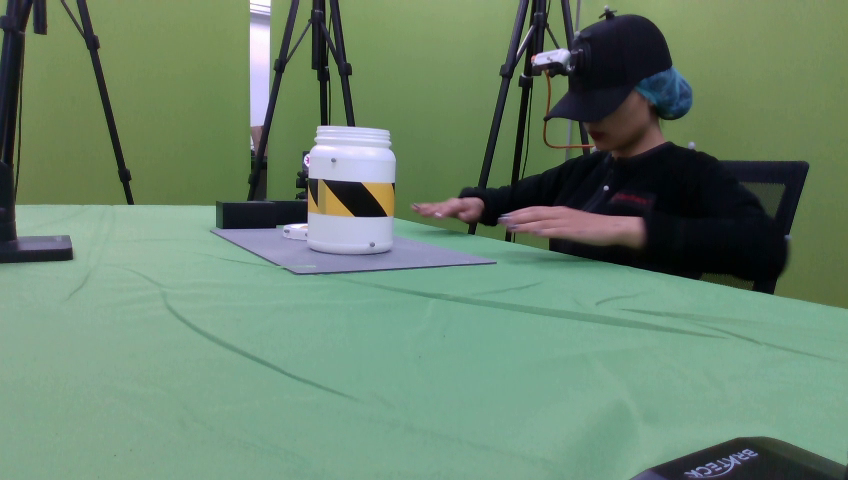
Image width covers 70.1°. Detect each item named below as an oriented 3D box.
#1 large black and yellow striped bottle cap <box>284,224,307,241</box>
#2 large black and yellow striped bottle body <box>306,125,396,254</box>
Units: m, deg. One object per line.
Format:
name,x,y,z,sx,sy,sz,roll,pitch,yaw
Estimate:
large black and yellow striped bottle cap,-0.186,-0.014,1.055,0.115,0.019,0.115,1,8,0
large black and yellow striped bottle body,-0.109,-0.077,0.913,0.131,0.184,0.130,3,8,0
